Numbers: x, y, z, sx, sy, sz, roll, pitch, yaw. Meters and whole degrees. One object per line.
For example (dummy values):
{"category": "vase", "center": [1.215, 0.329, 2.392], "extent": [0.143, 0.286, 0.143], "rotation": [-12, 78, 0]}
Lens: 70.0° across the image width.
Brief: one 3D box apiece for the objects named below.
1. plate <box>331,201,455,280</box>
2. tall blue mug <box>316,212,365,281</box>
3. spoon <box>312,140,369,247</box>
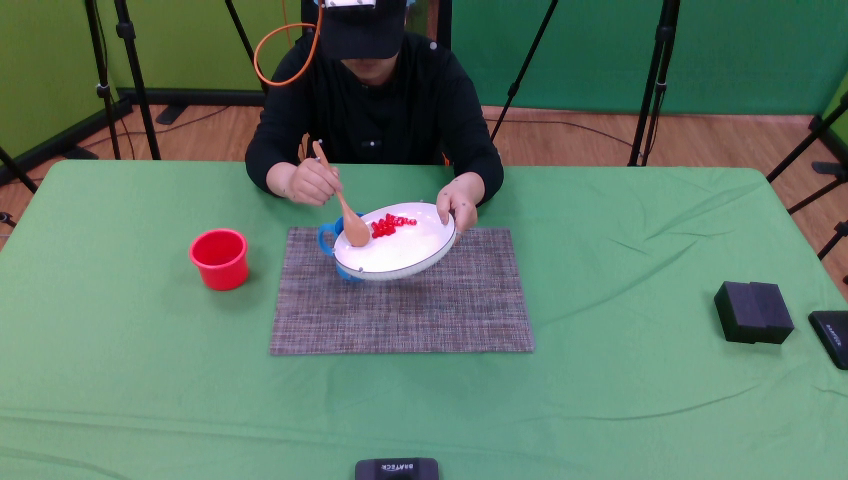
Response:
{"category": "plate", "center": [-0.048, 0.004, 0.999], "extent": [0.207, 0.039, 0.206], "rotation": [-10, 32, 7]}
{"category": "tall blue mug", "center": [-0.141, 0.014, 1.109], "extent": [0.107, 0.108, 0.077], "rotation": [-4, 48, -9]}
{"category": "spoon", "center": [-0.145, -0.078, 1.020], "extent": [0.041, 0.021, 0.193], "rotation": [-25, 90, 1]}
